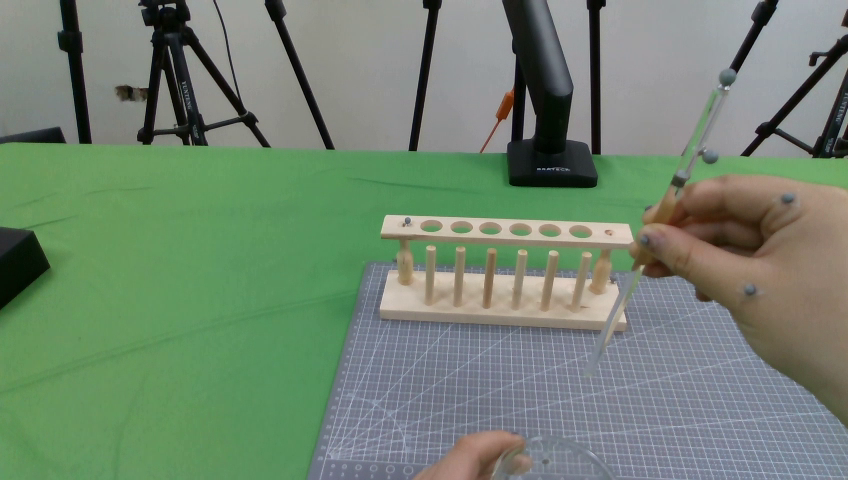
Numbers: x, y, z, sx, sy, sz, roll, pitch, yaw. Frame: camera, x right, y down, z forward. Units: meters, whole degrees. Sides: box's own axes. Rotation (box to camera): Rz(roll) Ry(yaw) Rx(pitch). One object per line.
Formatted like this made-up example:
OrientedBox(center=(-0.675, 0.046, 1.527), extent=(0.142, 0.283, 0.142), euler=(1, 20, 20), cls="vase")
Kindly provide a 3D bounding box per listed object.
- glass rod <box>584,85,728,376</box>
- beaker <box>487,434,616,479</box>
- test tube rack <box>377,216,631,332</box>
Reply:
OrientedBox(center=(0.112, 0.011, 0.311), extent=(0.008, 0.201, 0.008), euler=(4, 43, -3), cls="glass rod")
OrientedBox(center=(0.068, 0.180, 0.367), extent=(0.084, 0.101, 0.073), euler=(-6, 36, -13), cls="beaker")
OrientedBox(center=(0.076, 0.033, 0.604), extent=(0.242, 0.086, 0.066), euler=(2, 36, 4), cls="test tube rack")
